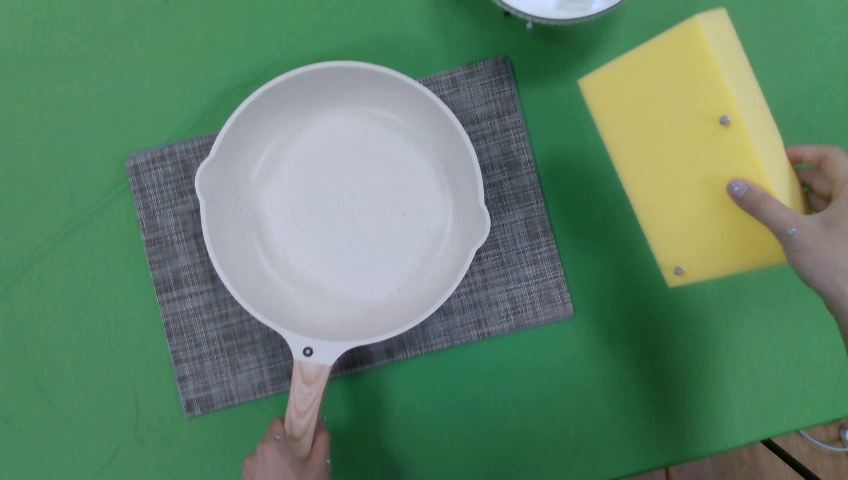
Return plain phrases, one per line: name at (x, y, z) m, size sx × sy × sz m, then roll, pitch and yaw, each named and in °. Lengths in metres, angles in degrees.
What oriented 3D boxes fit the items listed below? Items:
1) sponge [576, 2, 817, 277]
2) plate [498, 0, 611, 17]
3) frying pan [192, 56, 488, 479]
sponge at (0.234, -0.081, 0.528) m, size 0.061 × 0.118 × 0.207 m, roll -29°, pitch 95°, yaw -42°
plate at (0.133, -0.327, 0.623) m, size 0.208 × 0.039 × 0.207 m, roll 0°, pitch 88°, yaw 0°
frying pan at (-0.105, 0.057, 0.630) m, size 0.307 × 0.103 × 0.486 m, roll 10°, pitch 80°, yaw 3°
